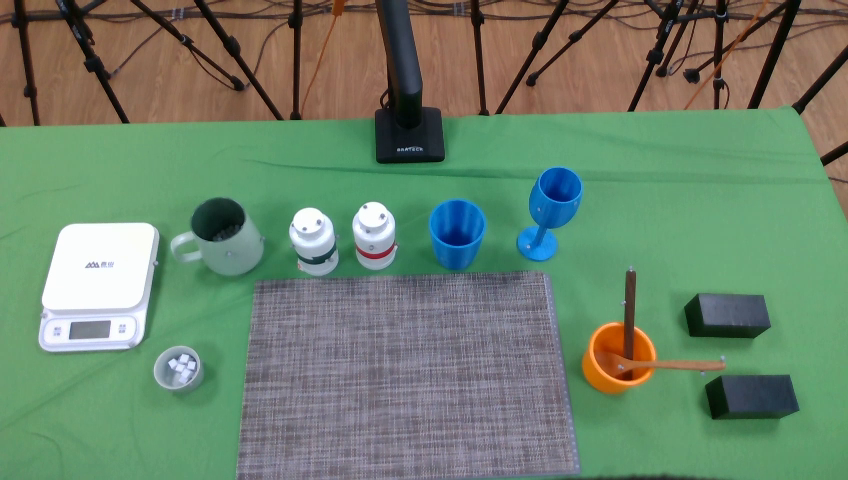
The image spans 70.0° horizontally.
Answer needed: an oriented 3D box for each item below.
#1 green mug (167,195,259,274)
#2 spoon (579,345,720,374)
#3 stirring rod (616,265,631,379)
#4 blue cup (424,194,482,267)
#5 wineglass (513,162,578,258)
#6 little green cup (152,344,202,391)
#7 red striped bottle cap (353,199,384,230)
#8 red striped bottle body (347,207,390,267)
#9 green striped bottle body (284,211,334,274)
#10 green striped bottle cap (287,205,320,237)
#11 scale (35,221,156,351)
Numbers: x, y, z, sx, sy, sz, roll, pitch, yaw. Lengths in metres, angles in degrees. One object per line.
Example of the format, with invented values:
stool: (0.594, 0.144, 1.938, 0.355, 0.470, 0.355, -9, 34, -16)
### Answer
green mug: (-0.317, -0.001, 0.905, 0.125, 0.106, 0.091, -22, 65, -13)
spoon: (0.299, 0.163, 0.821, 0.022, 0.193, 0.041, 29, 63, -37)
stirring rod: (0.278, 0.117, 0.844, 0.014, 0.177, 0.006, 0, 21, 12)
blue cup: (0.042, -0.007, 0.926, 0.092, 0.101, 0.092, 0, 62, 0)
wineglass: (0.179, -0.041, 0.910, 0.074, 0.173, 0.073, 1, 62, -1)
little green cup: (-0.341, 0.180, 0.843, 0.061, 0.039, 0.061, 2, 61, -3)
red striped bottle cap: (-0.080, -0.037, 0.866, 0.044, 0.018, 0.044, 1, 64, -2)
red striped bottle body: (-0.082, -0.012, 0.912, 0.063, 0.120, 0.062, 1, 61, -2)
green striped bottle body: (-0.171, -0.002, 0.903, 0.063, 0.120, 0.062, 1, 61, -1)
green striped bottle cap: (-0.171, -0.028, 0.857, 0.044, 0.020, 0.044, 1, 61, -2)
scale: (-0.488, 0.063, 0.902, 0.149, 0.032, 0.199, -2, 62, -3)
